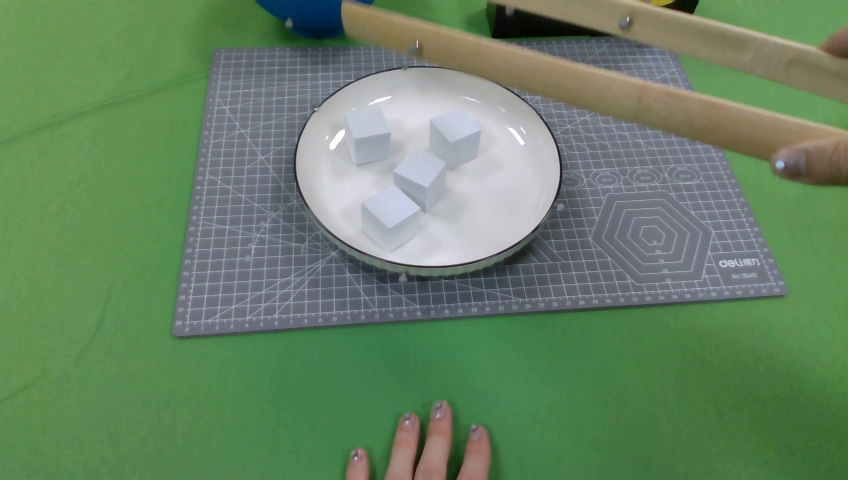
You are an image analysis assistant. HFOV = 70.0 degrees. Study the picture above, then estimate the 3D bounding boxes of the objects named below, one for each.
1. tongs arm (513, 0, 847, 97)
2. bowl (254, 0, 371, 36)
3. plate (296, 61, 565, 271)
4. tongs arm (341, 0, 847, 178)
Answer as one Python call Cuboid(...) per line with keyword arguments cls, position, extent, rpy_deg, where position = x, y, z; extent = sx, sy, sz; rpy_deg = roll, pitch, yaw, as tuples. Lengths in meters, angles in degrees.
Cuboid(cls="tongs arm", position=(0.134, -0.119, 0.353), extent=(0.381, 0.027, 0.050), rpy_deg=(28, 55, 29))
Cuboid(cls="bowl", position=(-0.105, -0.252, 0.584), extent=(0.151, 0.077, 0.150), rpy_deg=(1, 57, -1))
Cuboid(cls="plate", position=(0.005, -0.060, 0.484), extent=(0.208, 0.039, 0.205), rpy_deg=(1, 57, -1))
Cuboid(cls="tongs arm", position=(0.101, -0.088, 0.329), extent=(0.384, 0.028, 0.028), rpy_deg=(25, 50, 27))
